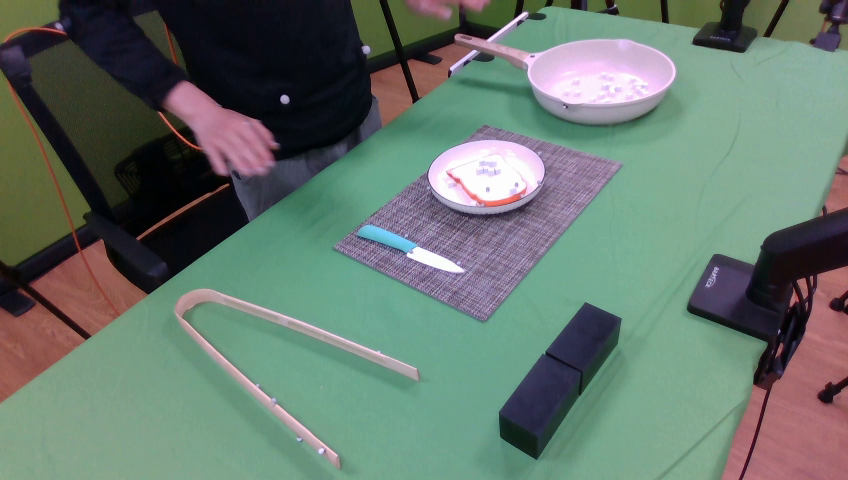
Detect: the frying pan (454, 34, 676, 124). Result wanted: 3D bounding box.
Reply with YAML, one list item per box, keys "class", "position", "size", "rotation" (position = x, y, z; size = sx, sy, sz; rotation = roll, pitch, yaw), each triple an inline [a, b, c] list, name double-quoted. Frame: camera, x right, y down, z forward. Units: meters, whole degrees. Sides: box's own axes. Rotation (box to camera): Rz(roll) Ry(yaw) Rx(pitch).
- class: "frying pan"
  position: [0.277, -0.370, 1.295]
  size: [0.485, 0.103, 0.307]
  rotation: [26, 49, 22]

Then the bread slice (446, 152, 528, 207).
- class: "bread slice"
  position: [0.117, -0.104, 1.057]
  size: [0.107, 0.018, 0.133]
  rotation: [-24, 42, -17]

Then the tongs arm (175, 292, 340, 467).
- class: "tongs arm"
  position: [-0.225, 0.168, 0.793]
  size: [0.381, 0.026, 0.051]
  rotation: [25, 50, 33]

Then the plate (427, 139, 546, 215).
- class: "plate"
  position: [0.109, -0.106, 1.058]
  size: [0.207, 0.039, 0.206]
  rotation: [-4, 40, 4]

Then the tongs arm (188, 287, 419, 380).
- class: "tongs arm"
  position: [-0.177, 0.126, 0.842]
  size: [0.385, 0.028, 0.028]
  rotation: [15, 48, 24]

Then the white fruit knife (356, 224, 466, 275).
- class: "white fruit knife"
  position: [-0.021, 0.014, 0.955]
  size: [0.206, 0.016, 0.027]
  rotation: [22, 78, 28]
